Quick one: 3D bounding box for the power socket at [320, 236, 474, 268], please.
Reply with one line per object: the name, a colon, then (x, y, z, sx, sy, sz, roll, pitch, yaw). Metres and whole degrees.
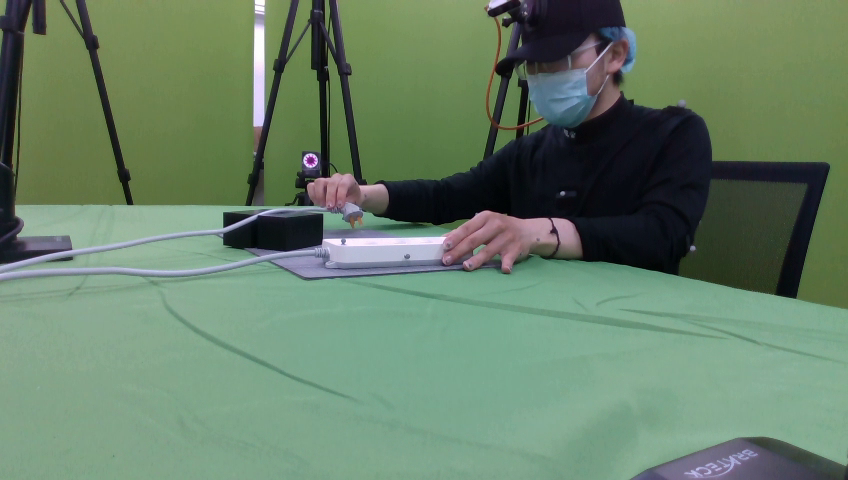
power socket: (-0.033, 0.014, 0.824, 0.228, 0.032, 0.072, -2, 7, -30)

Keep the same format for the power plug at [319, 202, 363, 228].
power plug: (-0.145, -0.039, 1.084, 0.072, 0.052, 0.035, -21, -25, -6)
